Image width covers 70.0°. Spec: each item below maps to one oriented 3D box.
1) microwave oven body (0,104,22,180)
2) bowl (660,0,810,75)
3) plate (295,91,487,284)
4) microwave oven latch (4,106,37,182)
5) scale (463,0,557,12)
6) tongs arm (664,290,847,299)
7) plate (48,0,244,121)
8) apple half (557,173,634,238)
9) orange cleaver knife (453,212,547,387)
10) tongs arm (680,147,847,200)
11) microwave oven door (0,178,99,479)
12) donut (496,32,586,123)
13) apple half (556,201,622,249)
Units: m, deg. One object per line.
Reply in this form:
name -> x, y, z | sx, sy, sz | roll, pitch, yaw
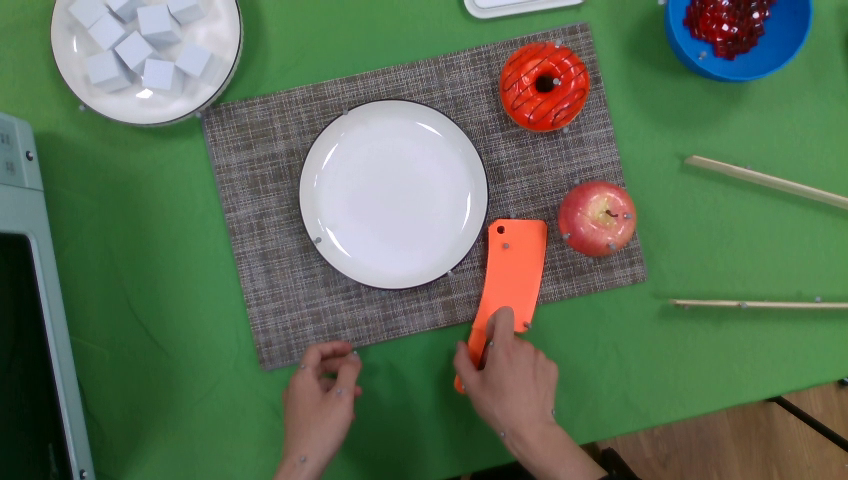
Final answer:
microwave oven body -> -0.553, 0.099, 0.550 | 0.326, 0.260, 0.441 | -11, 90, -1
bowl -> 0.320, -0.245, 0.655 | 0.151, 0.077, 0.151 | 0, 90, 0
plate -> -0.035, -0.057, 0.667 | 0.209, 0.038, 0.209 | 0, 90, 0
microwave oven latch -> -0.441, -0.101, 0.648 | 0.030, 0.029, 0.079 | -9, 91, -1
scale -> 0.102, -0.366, 0.676 | 0.149, 0.031, 0.201 | -9, 90, 0
tongs arm -> 0.463, 0.044, 0.677 | 0.385, 0.026, 0.050 | 2, 86, -1
plate -> -0.300, -0.232, 0.668 | 0.208, 0.039, 0.207 | 0, 90, -1
apple half -> 0.190, -0.043, 0.652 | 0.081, 0.075, 0.053 | 31, 86, 4
orange cleaver knife -> 0.086, 0.065, 0.678 | 0.077, 0.012, 0.211 | 16, 88, -6
tongs arm -> 0.475, -0.042, 0.681 | 0.388, 0.028, 0.028 | 17, 82, -1
microwave oven door -> -0.402, 0.113, 0.547 | 0.039, 0.244, 0.355 | -11, 90, 0
donut -> 0.127, -0.178, 0.666 | 0.099, 0.048, 0.099 | 0, 91, 1
apple half -> 0.170, -0.009, 0.651 | 0.081, 0.081, 0.033 | 31, 86, 0
